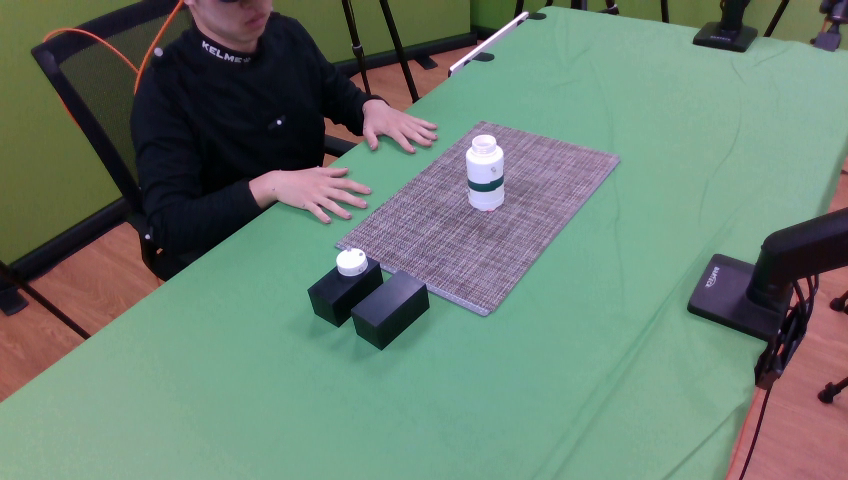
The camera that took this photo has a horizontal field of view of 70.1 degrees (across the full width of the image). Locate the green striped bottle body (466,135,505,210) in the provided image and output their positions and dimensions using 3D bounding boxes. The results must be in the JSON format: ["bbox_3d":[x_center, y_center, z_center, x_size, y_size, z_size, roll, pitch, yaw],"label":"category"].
[{"bbox_3d":[0.102,-0.114,1.006,0.063,0.120,0.063,-4,40,4],"label":"green striped bottle body"}]

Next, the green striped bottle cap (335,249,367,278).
[{"bbox_3d":[-0.105,0.033,0.873,0.044,0.020,0.044,-5,42,5],"label":"green striped bottle cap"}]
